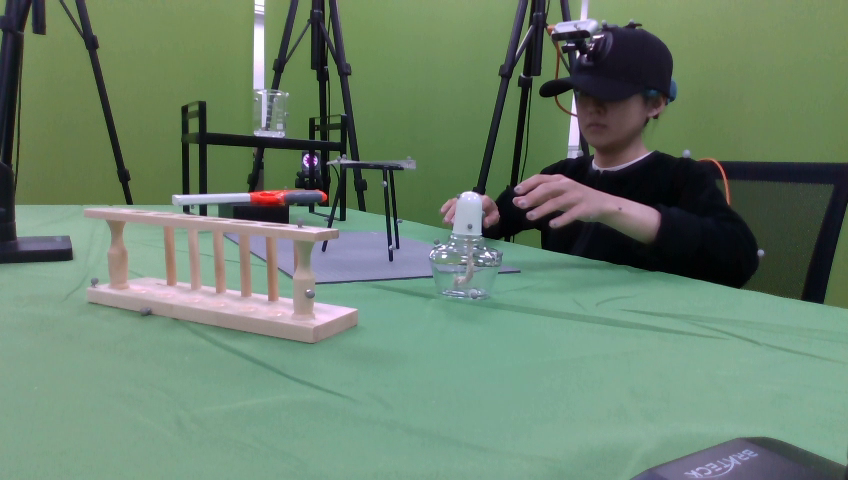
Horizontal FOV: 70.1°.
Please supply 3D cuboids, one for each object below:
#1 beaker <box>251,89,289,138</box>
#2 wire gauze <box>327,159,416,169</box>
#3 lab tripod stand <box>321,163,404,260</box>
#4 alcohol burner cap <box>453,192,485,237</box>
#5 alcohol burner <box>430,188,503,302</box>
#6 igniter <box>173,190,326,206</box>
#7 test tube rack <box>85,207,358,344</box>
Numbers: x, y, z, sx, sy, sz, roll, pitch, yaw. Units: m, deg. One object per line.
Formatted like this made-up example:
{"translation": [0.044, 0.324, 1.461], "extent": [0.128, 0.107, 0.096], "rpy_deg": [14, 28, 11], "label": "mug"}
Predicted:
{"translation": [-0.334, -0.273, 1.316], "extent": [0.084, 0.100, 0.074], "rpy_deg": [6, 8, 15], "label": "beaker"}
{"translation": [-0.072, -0.111, 0.872], "extent": [0.121, 0.011, 0.125], "rpy_deg": [3, 5, -2], "label": "wire gauze"}
{"translation": [-0.076, -0.045, 0.884], "extent": [0.148, 0.131, 0.148], "rpy_deg": [2, 5, 0], "label": "lab tripod stand"}
{"translation": [0.049, -0.026, 0.629], "extent": [0.034, 0.048, 0.034], "rpy_deg": [3, 6, 0], "label": "alcohol burner cap"}
{"translation": [0.046, 0.005, 0.634], "extent": [0.078, 0.119, 0.078], "rpy_deg": [5, 7, 0], "label": "alcohol burner"}
{"translation": [-0.317, -0.079, 1.128], "extent": [0.278, 0.025, 0.057], "rpy_deg": [-4, 13, -32], "label": "igniter"}
{"translation": [-0.177, 0.022, 0.518], "extent": [0.241, 0.085, 0.067], "rpy_deg": [6, 7, 23], "label": "test tube rack"}
